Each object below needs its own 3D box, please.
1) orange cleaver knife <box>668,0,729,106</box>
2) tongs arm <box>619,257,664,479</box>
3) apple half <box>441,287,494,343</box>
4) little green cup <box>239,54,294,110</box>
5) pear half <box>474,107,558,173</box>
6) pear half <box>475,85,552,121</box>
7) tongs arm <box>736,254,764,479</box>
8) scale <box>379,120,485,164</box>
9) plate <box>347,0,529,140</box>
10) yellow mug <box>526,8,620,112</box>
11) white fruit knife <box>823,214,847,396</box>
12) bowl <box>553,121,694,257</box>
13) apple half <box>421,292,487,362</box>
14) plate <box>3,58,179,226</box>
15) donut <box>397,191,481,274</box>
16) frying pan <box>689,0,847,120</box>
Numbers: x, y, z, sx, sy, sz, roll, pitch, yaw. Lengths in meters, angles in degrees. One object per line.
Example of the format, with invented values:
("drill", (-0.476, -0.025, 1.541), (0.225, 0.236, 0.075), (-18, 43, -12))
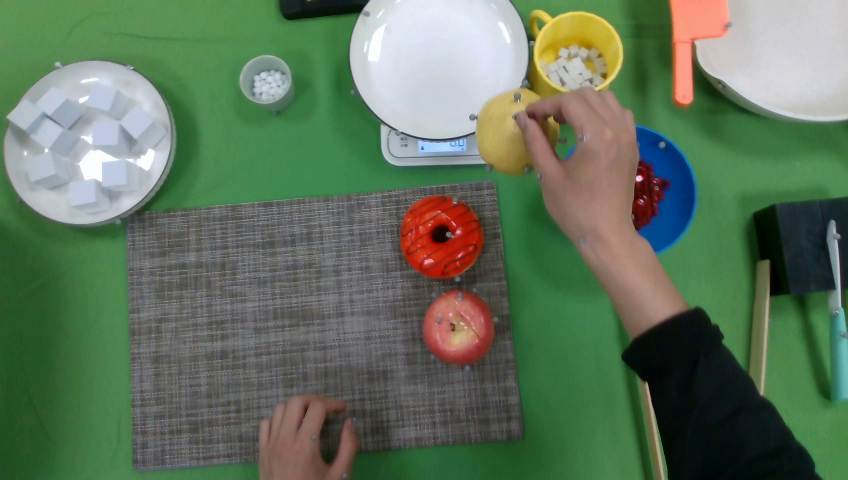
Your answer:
("orange cleaver knife", (0.303, -0.254, 0.682), (0.077, 0.012, 0.210), (-1, 83, 4))
("tongs arm", (0.268, 0.204, 0.674), (0.051, 0.026, 0.383), (-5, 83, -6))
("apple half", (0.055, 0.076, 0.673), (0.033, 0.081, 0.081), (-43, 82, 0))
("little green cup", (-0.189, -0.190, 0.741), (0.061, 0.039, 0.061), (0, 81, 2))
("pear half", (0.086, -0.091, 0.545), (0.076, 0.110, 0.056), (-13, 88, 2))
("pear half", (0.079, -0.126, 0.555), (0.070, 0.088, 0.031), (-14, 89, 0))
("tongs arm", (0.354, 0.205, 0.679), (0.028, 0.028, 0.386), (10, 82, -7))
("scale", (0.019, -0.194, 0.738), (0.148, 0.031, 0.200), (-1, 83, 2))
("plate", (0.017, -0.214, 0.707), (0.209, 0.038, 0.208), (0, 82, 2))
("yellow mug", (0.165, -0.222, 0.719), (0.100, 0.064, 0.130), (-38, 81, -3))
("white fruit knife", (0.447, 0.075, 0.663), (0.016, 0.027, 0.207), (-8, 97, 2))
("bowl", (0.216, -0.051, 0.689), (0.151, 0.077, 0.151), (0, 83, 2))
("apple half", (0.026, 0.103, 0.672), (0.053, 0.075, 0.080), (-41, 85, -1))
("plate", (-0.398, -0.117, 0.738), (0.207, 0.039, 0.207), (0, 82, 2))
("donut", (0.016, -0.009, 0.702), (0.099, 0.048, 0.099), (0, 83, 4))
("frying pan", (0.493, -0.190, 0.685), (0.307, 0.103, 0.484), (-32, 74, -2))
